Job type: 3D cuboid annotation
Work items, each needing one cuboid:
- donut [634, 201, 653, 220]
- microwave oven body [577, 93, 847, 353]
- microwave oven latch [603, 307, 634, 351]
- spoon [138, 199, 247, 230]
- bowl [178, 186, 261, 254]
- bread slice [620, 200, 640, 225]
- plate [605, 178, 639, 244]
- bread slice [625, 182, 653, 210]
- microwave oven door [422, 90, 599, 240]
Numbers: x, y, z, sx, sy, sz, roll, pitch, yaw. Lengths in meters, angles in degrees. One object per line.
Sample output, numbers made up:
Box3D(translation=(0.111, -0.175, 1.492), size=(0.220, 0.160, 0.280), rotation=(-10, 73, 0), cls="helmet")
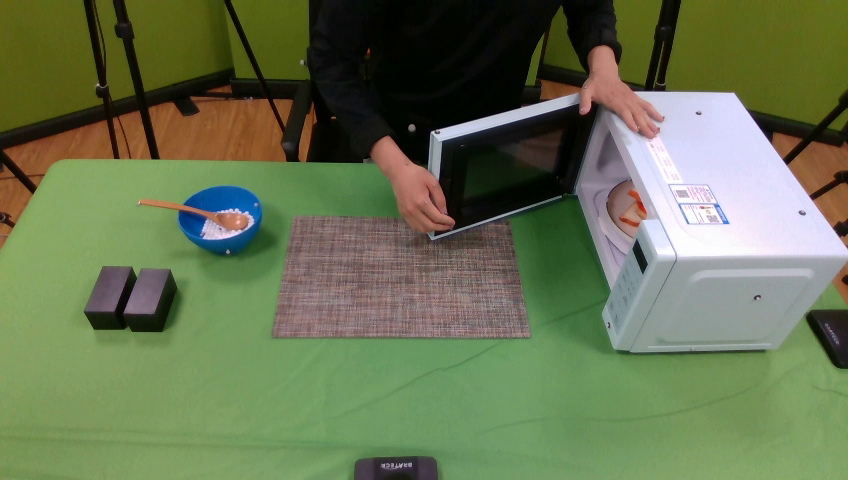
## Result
Box3D(translation=(0.453, -0.061, 1.160), size=(0.099, 0.048, 0.098), rotation=(0, 46, 0), cls="donut")
Box3D(translation=(0.475, -0.041, 1.109), size=(0.326, 0.261, 0.438), rotation=(-1, 45, -4), cls="microwave oven body")
Box3D(translation=(0.332, 0.153, 1.044), size=(0.030, 0.029, 0.078), rotation=(0, 45, -4), cls="microwave oven latch")
Box3D(translation=(-0.431, -0.053, 1.136), size=(0.194, 0.022, 0.041), rotation=(15, 48, -20), cls="spoon")
Box3D(translation=(-0.383, -0.026, 1.158), size=(0.151, 0.077, 0.150), rotation=(2, 46, -2), cls="bowl")
Box3D(translation=(0.464, -0.045, 1.172), size=(0.134, 0.018, 0.107), rotation=(36, 65, 20), cls="bread slice")
Box3D(translation=(0.455, -0.042, 1.182), size=(0.208, 0.039, 0.206), rotation=(2, 46, -2), cls="plate")
Box3D(translation=(0.462, -0.080, 1.139), size=(0.105, 0.019, 0.131), rotation=(-31, 53, -34), cls="bread slice")
Box3D(translation=(0.167, -0.146, 1.180), size=(0.356, 0.245, 0.039), rotation=(-18, 50, -21), cls="microwave oven door")
